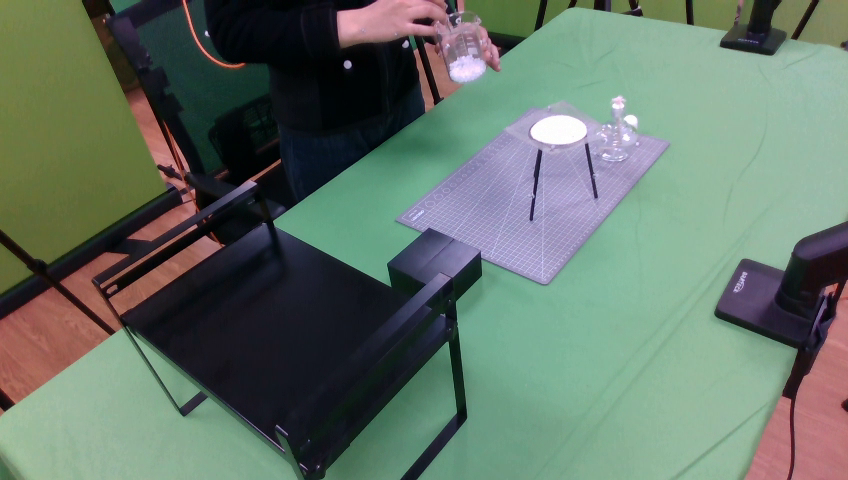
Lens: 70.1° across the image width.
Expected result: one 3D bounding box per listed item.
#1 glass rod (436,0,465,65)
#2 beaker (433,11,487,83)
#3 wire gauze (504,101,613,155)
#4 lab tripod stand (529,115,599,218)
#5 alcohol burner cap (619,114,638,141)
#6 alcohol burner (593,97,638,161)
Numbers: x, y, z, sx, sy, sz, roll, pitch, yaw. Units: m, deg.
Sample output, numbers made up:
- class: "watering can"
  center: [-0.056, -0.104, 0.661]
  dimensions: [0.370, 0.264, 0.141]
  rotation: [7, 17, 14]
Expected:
- class: "glass rod"
  center: [0.035, -0.373, 1.010]
  dimensions: [0.008, 0.201, 0.008]
  rotation: [-14, 50, 17]
- class: "beaker"
  center: [0.068, -0.330, 1.041]
  dimensions: [0.083, 0.101, 0.074]
  rotation: [-1, 46, 21]
- class: "wire gauze"
  center: [0.211, -0.176, 0.955]
  dimensions: [0.125, 0.011, 0.120]
  rotation: [-24, 44, -18]
- class: "lab tripod stand"
  center: [0.218, -0.123, 0.995]
  dimensions: [0.148, 0.132, 0.147]
  rotation: [-4, 43, 4]
- class: "alcohol burner cap"
  center: [0.389, -0.215, 1.145]
  dimensions: [0.034, 0.048, 0.033]
  rotation: [-4, 40, 4]
- class: "alcohol burner"
  center: [0.345, -0.203, 1.083]
  dimensions: [0.078, 0.119, 0.077]
  rotation: [-5, 43, 5]
